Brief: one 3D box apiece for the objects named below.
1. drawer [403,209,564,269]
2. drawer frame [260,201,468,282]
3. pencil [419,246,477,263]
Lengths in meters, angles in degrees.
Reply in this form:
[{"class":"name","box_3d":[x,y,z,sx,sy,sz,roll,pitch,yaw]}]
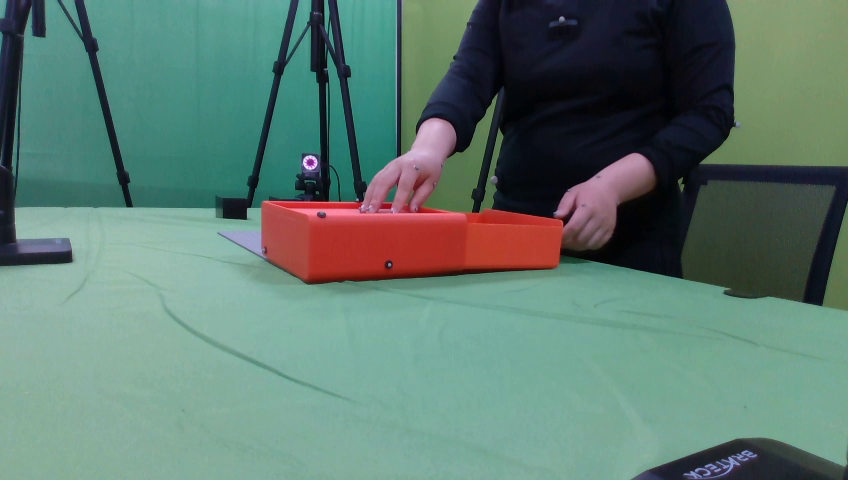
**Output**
[{"class":"drawer","box_3d":[0.059,-0.006,0.880,0.213,0.073,0.193,0,9,-31]},{"class":"drawer frame","box_3d":[-0.084,-0.006,0.794,0.215,0.082,0.200,-2,9,-30]},{"class":"pencil","box_3d":[0.040,0.018,0.877,0.012,0.012,0.195,6,7,26]}]
